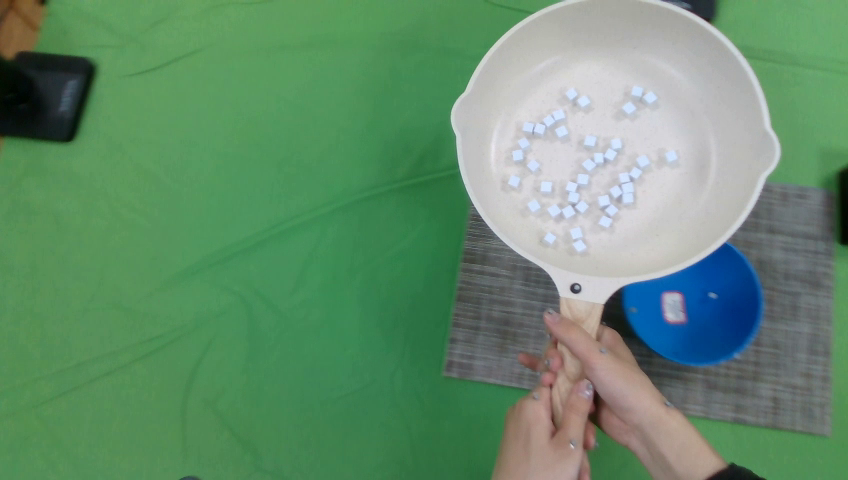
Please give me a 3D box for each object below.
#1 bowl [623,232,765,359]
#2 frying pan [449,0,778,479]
[{"bbox_3d":[0.296,0.063,0.694,0.151,0.077,0.150,0,77,2],"label":"bowl"},{"bbox_3d":[0.156,-0.008,0.578,0.306,0.103,0.485,10,73,11],"label":"frying pan"}]
